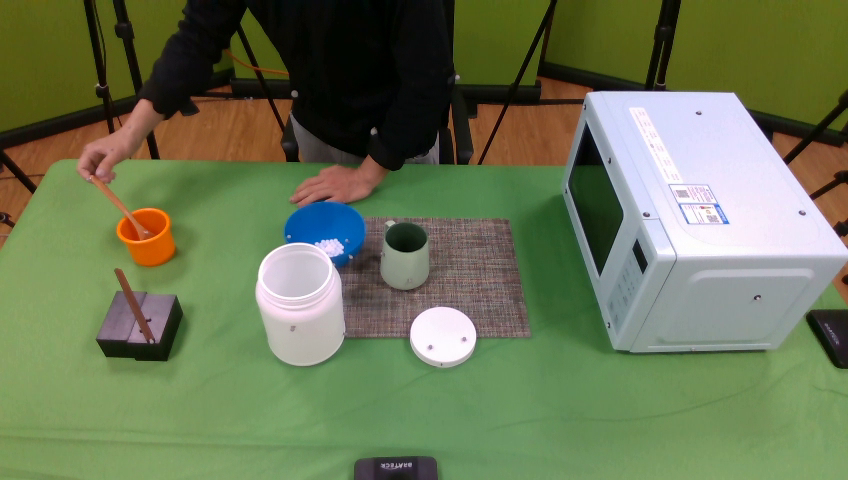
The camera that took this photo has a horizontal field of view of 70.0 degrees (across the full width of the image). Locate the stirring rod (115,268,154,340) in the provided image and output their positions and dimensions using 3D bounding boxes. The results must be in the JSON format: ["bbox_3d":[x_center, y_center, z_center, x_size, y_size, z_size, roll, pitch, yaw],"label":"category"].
[{"bbox_3d":[-0.479,0.103,0.999,0.014,0.006,0.175,8,32,-49],"label":"stirring rod"}]

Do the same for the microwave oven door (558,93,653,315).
[{"bbox_3d":[0.327,-0.074,1.123,0.039,0.245,0.353,-1,46,-5],"label":"microwave oven door"}]

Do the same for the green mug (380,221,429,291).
[{"bbox_3d":[-0.043,0.020,1.116,0.092,0.105,0.124,-20,50,-21],"label":"green mug"}]

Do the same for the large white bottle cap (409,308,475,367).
[{"bbox_3d":[0.031,0.165,1.041,0.115,0.018,0.114,2,47,-2],"label":"large white bottle cap"}]

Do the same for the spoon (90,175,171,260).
[{"bbox_3d":[-0.539,-0.042,1.111,0.041,0.194,0.021,-46,19,-32],"label":"spoon"}]

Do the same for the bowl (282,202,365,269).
[{"bbox_3d":[-0.186,0.006,1.136,0.151,0.077,0.150,3,46,-3],"label":"bowl"}]

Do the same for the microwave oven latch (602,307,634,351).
[{"bbox_3d":[0.332,0.153,1.044,0.030,0.029,0.078,0,45,-4],"label":"microwave oven latch"}]

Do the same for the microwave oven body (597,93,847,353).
[{"bbox_3d":[0.475,-0.041,1.109,0.326,0.261,0.438,-1,45,-4],"label":"microwave oven body"}]

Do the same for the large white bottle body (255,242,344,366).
[{"bbox_3d":[-0.196,0.102,0.967,0.131,0.185,0.130,2,49,-2],"label":"large white bottle body"}]
